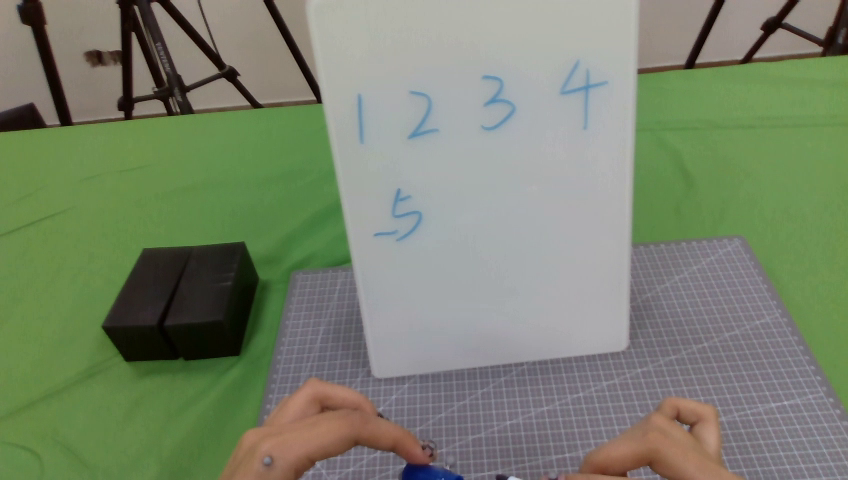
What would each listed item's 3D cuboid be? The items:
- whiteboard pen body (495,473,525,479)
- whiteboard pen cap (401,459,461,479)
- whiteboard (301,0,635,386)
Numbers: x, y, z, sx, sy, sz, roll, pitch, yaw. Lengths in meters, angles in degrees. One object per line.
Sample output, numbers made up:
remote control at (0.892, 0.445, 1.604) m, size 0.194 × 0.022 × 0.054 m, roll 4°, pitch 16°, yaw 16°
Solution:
whiteboard pen body at (0.094, 0.135, 0.277) m, size 0.140 × 0.017 × 0.017 m, roll 12°, pitch 44°, yaw 34°
whiteboard pen cap at (0.005, 0.129, 0.322) m, size 0.033 × 0.018 × 0.018 m, roll 2°, pitch 39°, yaw 37°
whiteboard at (0.044, -0.056, 0.506) m, size 0.217 × 0.307 × 0.143 m, roll -6°, pitch 23°, yaw 2°
